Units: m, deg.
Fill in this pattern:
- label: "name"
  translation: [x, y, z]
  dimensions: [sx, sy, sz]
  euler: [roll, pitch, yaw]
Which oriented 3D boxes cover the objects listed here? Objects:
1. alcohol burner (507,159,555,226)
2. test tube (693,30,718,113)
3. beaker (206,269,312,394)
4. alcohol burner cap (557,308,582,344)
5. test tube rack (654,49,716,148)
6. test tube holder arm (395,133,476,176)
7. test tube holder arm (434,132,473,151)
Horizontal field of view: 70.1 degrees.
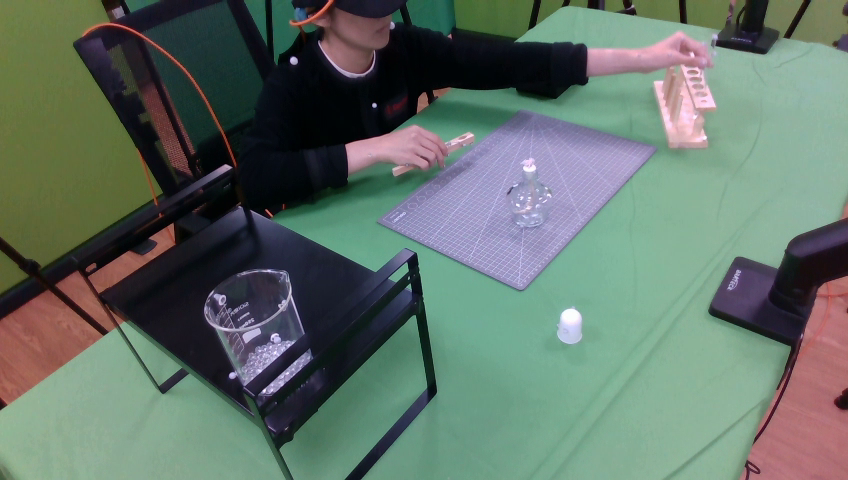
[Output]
- label: "alcohol burner"
  translation: [0.172, -0.081, 0.969]
  dimensions: [0.078, 0.119, 0.077]
  euler: [-3, 43, 4]
- label: "test tube"
  translation: [0.496, -0.295, 1.069]
  dimensions: [0.017, 0.151, 0.017]
  euler: [-3, 36, 3]
- label: "beaker"
  translation: [-0.146, 0.086, 0.560]
  dimensions: [0.073, 0.101, 0.084]
  euler: [19, 46, 27]
- label: "alcohol burner cap"
  translation: [0.194, 0.111, 0.802]
  dimensions: [0.034, 0.048, 0.033]
  euler: [-4, 39, 4]
- label: "test tube rack"
  translation: [0.502, -0.281, 1.176]
  dimensions: [0.066, 0.085, 0.241]
  euler: [2, 41, 11]
- label: "test tube holder arm"
  translation: [0.023, -0.157, 1.104]
  dimensions: [0.179, 0.015, 0.013]
  euler: [-29, 37, -25]
- label: "test tube holder arm"
  translation: [0.056, -0.179, 1.127]
  dimensions: [0.088, 0.015, 0.010]
  euler: [-28, 36, -24]
